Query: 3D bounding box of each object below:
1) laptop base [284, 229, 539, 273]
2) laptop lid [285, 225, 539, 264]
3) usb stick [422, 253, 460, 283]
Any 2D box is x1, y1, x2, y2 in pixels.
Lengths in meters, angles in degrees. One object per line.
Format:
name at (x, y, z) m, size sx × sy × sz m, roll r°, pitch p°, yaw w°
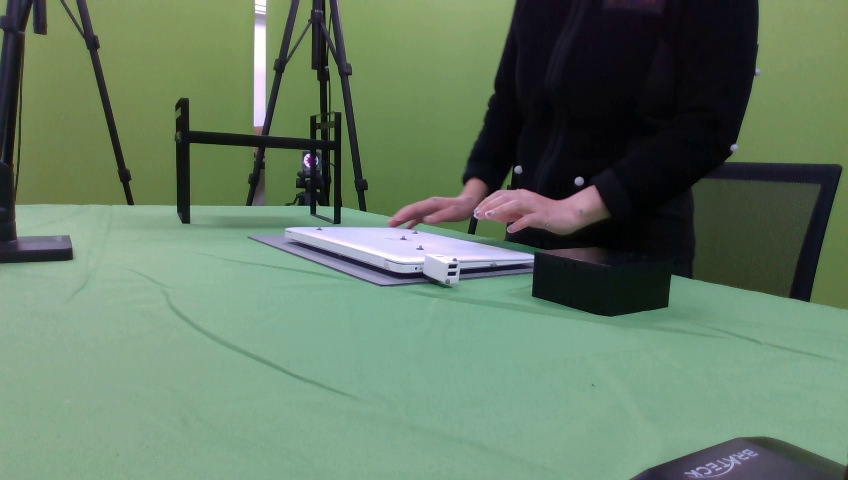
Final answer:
laptop base at (-0.034, 0.013, 0.898) m, size 0.237 × 0.023 × 0.352 m, roll 1°, pitch 7°, yaw -36°
laptop lid at (-0.032, 0.002, 0.898) m, size 0.243 × 0.013 × 0.355 m, roll 0°, pitch 8°, yaw -34°
usb stick at (0.015, 0.031, 0.698) m, size 0.021 × 0.027 × 0.059 m, roll -1°, pitch 9°, yaw -35°
